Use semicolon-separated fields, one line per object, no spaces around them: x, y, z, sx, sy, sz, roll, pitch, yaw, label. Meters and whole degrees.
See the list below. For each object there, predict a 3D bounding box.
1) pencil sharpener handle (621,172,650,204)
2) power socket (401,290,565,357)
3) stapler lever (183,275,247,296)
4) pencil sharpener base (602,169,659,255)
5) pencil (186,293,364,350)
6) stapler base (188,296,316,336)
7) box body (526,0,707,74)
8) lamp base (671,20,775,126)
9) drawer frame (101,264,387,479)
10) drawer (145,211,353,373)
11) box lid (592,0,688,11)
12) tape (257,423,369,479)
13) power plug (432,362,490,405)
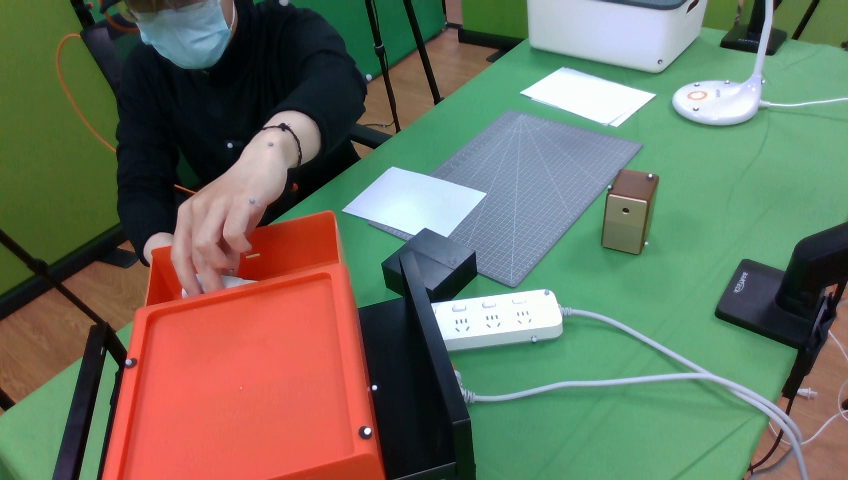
0.328;-0.086;0.940;0.036;0.068;0.030;30;49;7;pencil sharpener handle
0.080;0.113;0.821;0.227;0.033;0.072;-7;41;0;power socket
-0.178;0.054;0.597;0.118;0.040;0.026;-3;41;6;stapler lever
0.312;-0.044;0.913;0.061;0.107;0.077;14;44;24;pencil sharpener base
-0.153;0.080;0.610;0.193;0.012;0.012;15;44;8;pencil
-0.177;0.074;0.613;0.130;0.024;0.041;-3;41;6;stapler base
0.450;-0.540;1.429;0.361;0.161;0.255;24;50;31;box body
0.582;-0.331;1.153;0.179;0.181;0.160;2;41;7;lamp base
-0.146;0.132;0.516;0.202;0.083;0.212;-12;41;-7;drawer frame
-0.167;0.077;0.587;0.195;0.073;0.210;-12;41;-6;drawer
0.441;-0.595;1.383;0.368;0.015;0.264;24;49;31;box lid
-0.120;0.262;0.659;0.117;0.053;0.116;-4;40;4;tape
0.044;0.182;0.759;0.073;0.035;0.052;24;42;-20;power plug
